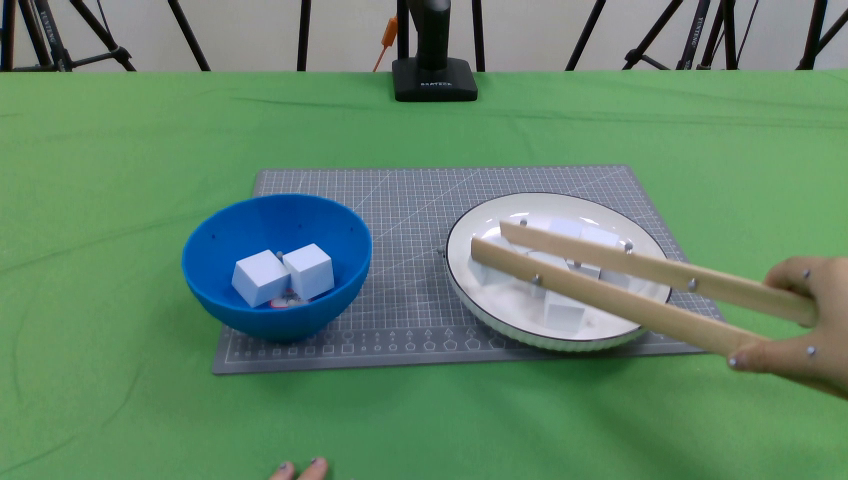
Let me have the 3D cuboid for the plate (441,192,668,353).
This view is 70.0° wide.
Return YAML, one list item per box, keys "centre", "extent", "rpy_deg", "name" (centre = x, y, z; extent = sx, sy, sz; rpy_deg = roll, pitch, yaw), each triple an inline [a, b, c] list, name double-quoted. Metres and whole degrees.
- centre: [0.119, 0.029, 0.569]
  extent: [0.208, 0.039, 0.205]
  rpy_deg: [2, 40, -1]
  name: "plate"

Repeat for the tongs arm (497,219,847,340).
- centre: [0.208, 0.045, 0.422]
  extent: [0.382, 0.027, 0.050]
  rpy_deg: [16, 37, 33]
  name: "tongs arm"

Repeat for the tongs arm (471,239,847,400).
- centre: [0.191, 0.057, 0.405]
  extent: [0.384, 0.028, 0.028]
  rpy_deg: [18, 35, 35]
  name: "tongs arm"

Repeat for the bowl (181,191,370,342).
- centre: [-0.120, 0.033, 0.516]
  extent: [0.151, 0.077, 0.150]
  rpy_deg: [2, 40, -1]
  name: "bowl"
